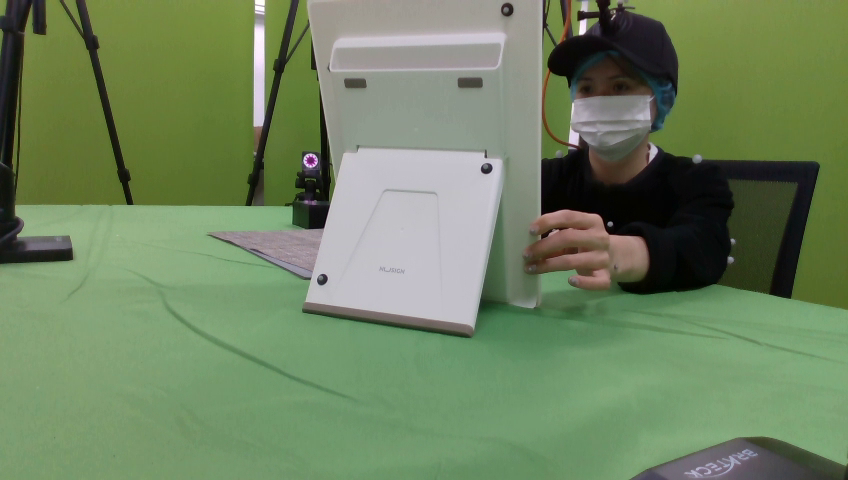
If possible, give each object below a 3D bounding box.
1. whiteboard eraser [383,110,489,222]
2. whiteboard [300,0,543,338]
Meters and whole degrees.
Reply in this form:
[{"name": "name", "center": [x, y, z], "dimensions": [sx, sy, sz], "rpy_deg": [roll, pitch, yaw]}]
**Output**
[{"name": "whiteboard eraser", "center": [0.009, -0.071, 0.602], "dimensions": [0.055, 0.112, 0.042], "rpy_deg": [41, 33, -4]}, {"name": "whiteboard", "center": [-0.020, -0.050, 0.523], "dimensions": [0.216, 0.305, 0.144], "rpy_deg": [6, 27, 22]}]
